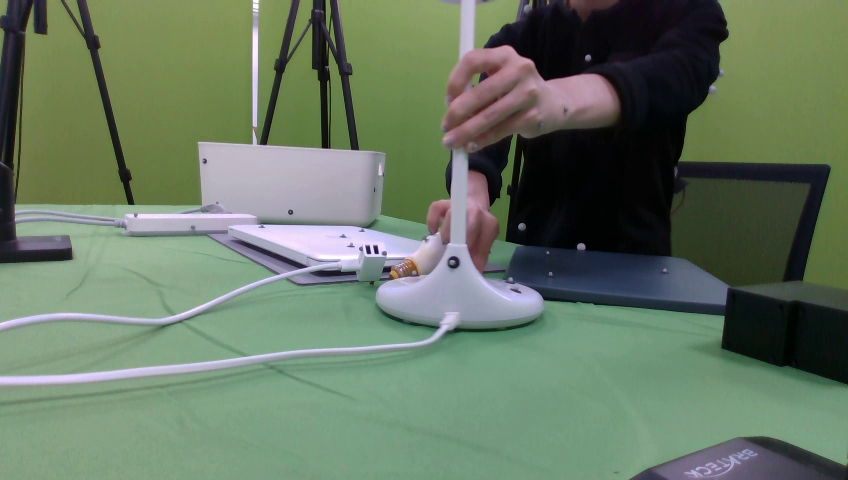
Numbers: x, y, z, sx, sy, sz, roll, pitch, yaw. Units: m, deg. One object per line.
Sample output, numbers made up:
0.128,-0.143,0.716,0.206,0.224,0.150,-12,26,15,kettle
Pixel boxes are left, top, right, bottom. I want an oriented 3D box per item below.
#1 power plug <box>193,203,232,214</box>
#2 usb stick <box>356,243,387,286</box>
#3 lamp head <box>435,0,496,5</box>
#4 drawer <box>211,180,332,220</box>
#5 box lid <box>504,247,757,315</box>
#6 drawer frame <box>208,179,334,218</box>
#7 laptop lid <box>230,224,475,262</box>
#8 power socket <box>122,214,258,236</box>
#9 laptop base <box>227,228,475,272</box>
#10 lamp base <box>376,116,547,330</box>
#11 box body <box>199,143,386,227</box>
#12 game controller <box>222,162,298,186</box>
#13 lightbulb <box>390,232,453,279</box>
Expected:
-0.394,-0.042,1.139,0.072,0.052,0.035,-13,2,31,power plug
-0.058,0.029,0.658,0.027,0.059,0.021,-4,51,-18,usb stick
0.042,-0.301,0.575,0.112,0.112,0.123,-2,-38,3,lamp head
-0.328,-0.095,1.332,0.212,0.073,0.194,5,8,6,drawer
0.244,0.044,0.793,0.263,0.015,0.372,4,6,10,box lid
-0.327,-0.093,1.328,0.213,0.082,0.202,0,5,6,drawer frame
-0.119,0.000,0.889,0.243,0.013,0.355,1,7,-33,laptop lid
-0.398,-0.028,1.049,0.228,0.032,0.072,-3,8,-34,power socket
-0.122,0.012,0.889,0.237,0.023,0.352,2,6,-35,laptop base
0.038,-0.019,0.549,0.161,0.180,0.179,2,10,0,lamp base
-0.276,-0.124,1.335,0.364,0.160,0.254,3,7,1,box body
-0.357,-0.143,1.322,0.156,0.051,0.097,1,2,-16,game controller
0.005,0.027,0.699,0.108,0.059,0.059,-22,21,-35,lightbulb
